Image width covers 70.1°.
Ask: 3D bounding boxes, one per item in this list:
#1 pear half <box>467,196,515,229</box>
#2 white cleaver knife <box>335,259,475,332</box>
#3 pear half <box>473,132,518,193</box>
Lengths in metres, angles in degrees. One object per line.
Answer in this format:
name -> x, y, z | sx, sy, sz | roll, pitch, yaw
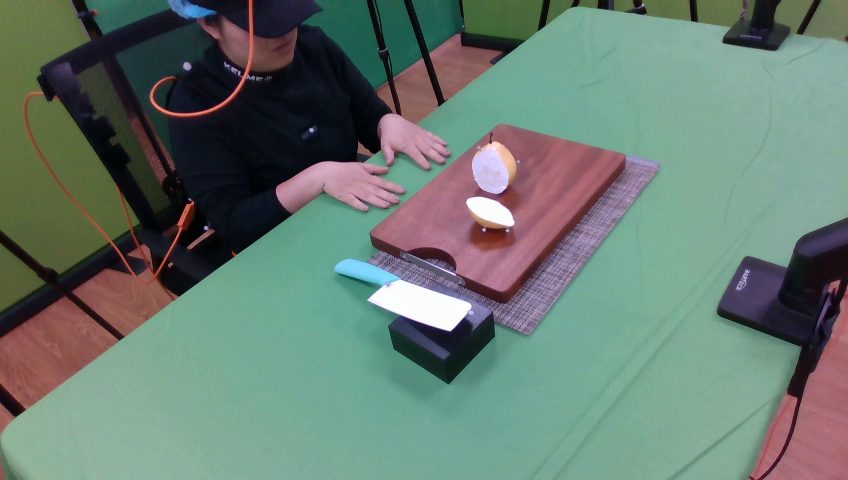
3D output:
pear half -> 0.105, -0.037, 0.957 | 0.071, 0.031, 0.087 | -23, 53, -38
white cleaver knife -> -0.045, 0.072, 0.860 | 0.066, 0.021, 0.284 | -36, 33, -31
pear half -> 0.123, -0.139, 1.015 | 0.076, 0.110, 0.056 | 17, 47, 23
